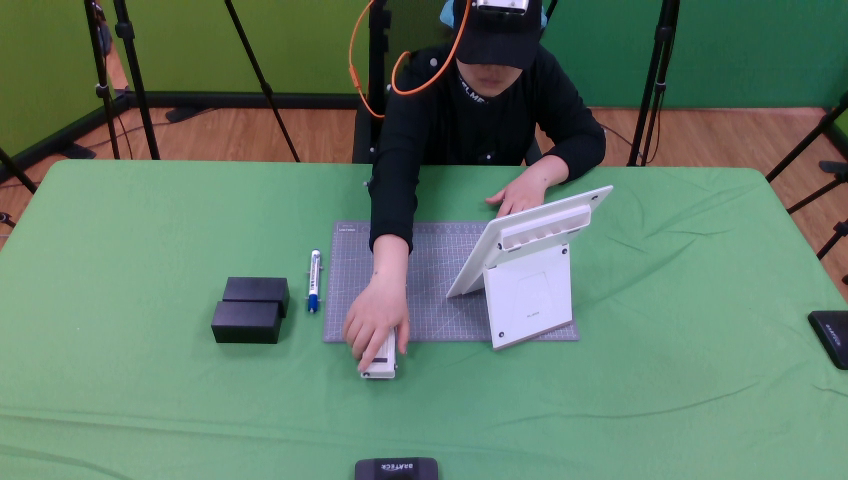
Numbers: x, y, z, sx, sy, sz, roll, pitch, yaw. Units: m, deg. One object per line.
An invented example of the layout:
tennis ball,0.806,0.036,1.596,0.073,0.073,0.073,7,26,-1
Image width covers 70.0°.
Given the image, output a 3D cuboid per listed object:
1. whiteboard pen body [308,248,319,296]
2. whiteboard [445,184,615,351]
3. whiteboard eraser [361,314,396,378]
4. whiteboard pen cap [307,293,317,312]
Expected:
whiteboard pen body,-0.204,0.070,1.119,0.017,0.017,0.140,-1,47,-5
whiteboard,0.187,0.065,0.989,0.217,0.306,0.143,-15,68,-18
whiteboard eraser,-0.074,0.176,1.006,0.055,0.042,0.112,2,49,-4
whiteboard pen cap,-0.199,0.110,1.077,0.018,0.018,0.033,-2,48,-6
